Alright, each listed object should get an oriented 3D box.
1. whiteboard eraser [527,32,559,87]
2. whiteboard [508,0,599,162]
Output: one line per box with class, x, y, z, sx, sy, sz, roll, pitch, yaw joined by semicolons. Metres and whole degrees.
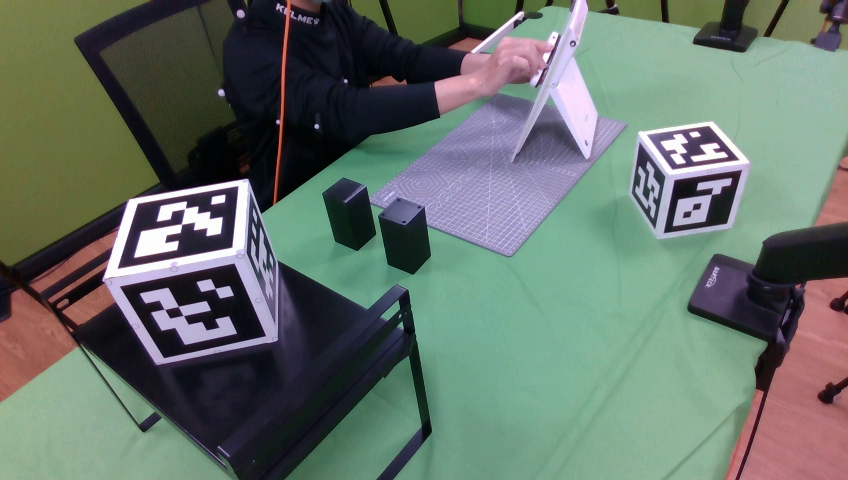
whiteboard eraser;0.218;-0.330;1.109;0.019;0.101;0.041;25;18;-3
whiteboard;0.285;-0.289;1.090;0.144;0.305;0.217;22;45;4
